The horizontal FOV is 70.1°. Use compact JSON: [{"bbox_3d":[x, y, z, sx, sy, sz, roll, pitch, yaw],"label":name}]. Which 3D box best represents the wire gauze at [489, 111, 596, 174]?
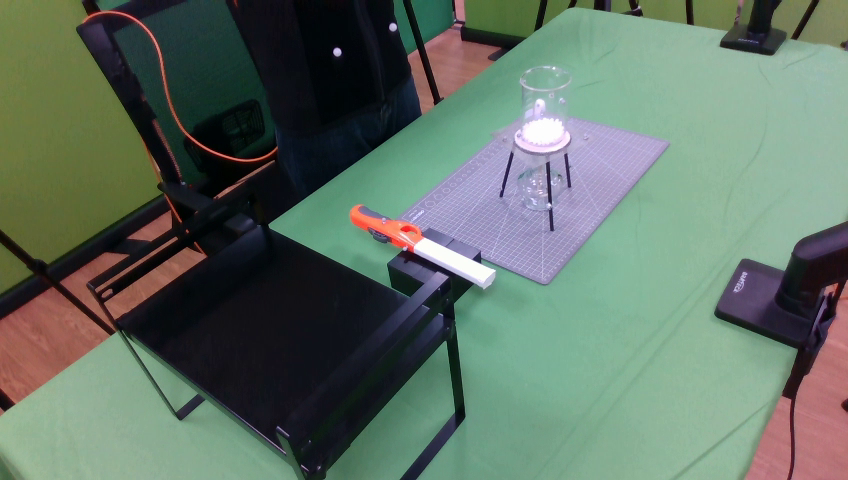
[{"bbox_3d":[0.183,-0.159,0.943,0.122,0.011,0.124,-25,47,-17],"label":"wire gauze"}]

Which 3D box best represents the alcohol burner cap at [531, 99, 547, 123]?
[{"bbox_3d":[0.234,-0.264,1.231,0.034,0.048,0.033,-5,41,5],"label":"alcohol burner cap"}]

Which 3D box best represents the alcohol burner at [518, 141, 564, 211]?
[{"bbox_3d":[0.193,-0.109,0.999,0.078,0.119,0.077,-5,38,5],"label":"alcohol burner"}]

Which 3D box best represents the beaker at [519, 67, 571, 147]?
[{"bbox_3d":[0.184,-0.201,0.917,0.073,0.101,0.084,26,51,31],"label":"beaker"}]

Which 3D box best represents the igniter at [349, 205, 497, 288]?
[{"bbox_3d":[-0.013,0.004,0.897,0.274,0.025,0.057,25,44,32],"label":"igniter"}]

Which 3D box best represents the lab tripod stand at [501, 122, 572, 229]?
[{"bbox_3d":[0.194,-0.110,0.985,0.148,0.132,0.147,-3,42,3],"label":"lab tripod stand"}]
